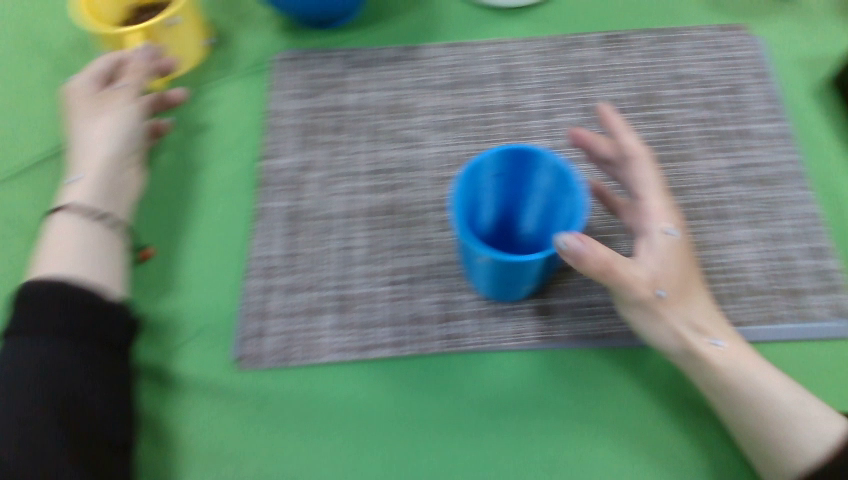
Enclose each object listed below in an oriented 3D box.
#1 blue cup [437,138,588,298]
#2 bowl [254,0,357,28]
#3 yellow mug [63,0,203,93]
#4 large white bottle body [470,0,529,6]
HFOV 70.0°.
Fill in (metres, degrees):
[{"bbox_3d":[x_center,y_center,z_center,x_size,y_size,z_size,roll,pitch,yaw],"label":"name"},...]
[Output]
[{"bbox_3d":[0.060,-0.005,0.419,0.092,0.101,0.092,-1,63,2],"label":"blue cup"},{"bbox_3d":[-0.108,-0.257,0.573,0.151,0.077,0.150,-1,62,1],"label":"bowl"},{"bbox_3d":[-0.258,-0.190,0.548,0.100,0.064,0.129,-15,64,-7],"label":"yellow mug"},{"bbox_3d":[0.074,-0.325,0.542,0.130,0.186,0.129,-1,62,1],"label":"large white bottle body"}]
